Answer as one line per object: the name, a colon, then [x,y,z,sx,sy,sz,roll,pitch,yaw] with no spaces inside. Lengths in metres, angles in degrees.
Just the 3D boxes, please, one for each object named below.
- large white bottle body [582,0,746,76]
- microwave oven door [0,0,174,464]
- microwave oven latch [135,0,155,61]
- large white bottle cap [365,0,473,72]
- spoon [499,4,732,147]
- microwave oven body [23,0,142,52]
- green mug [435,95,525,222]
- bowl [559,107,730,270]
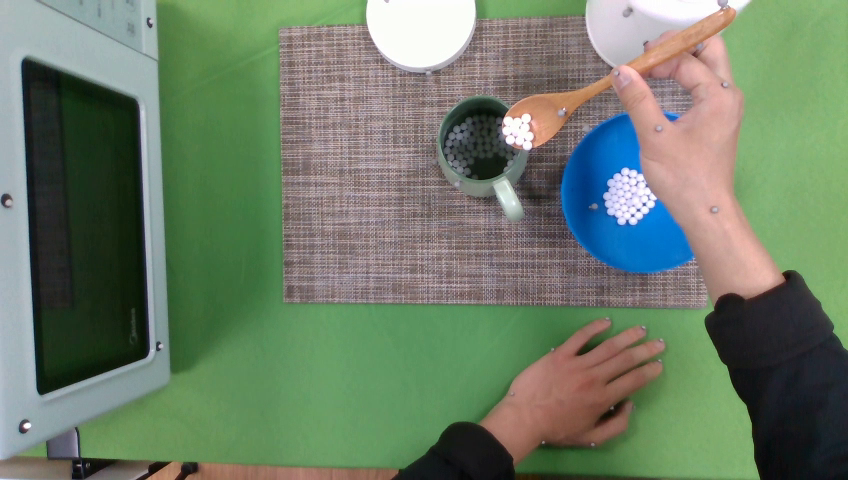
large white bottle body: [0.215,-0.234,0.530,0.130,0.185,0.130,0,88,6]
microwave oven door: [-0.313,-0.013,0.550,0.039,0.244,0.355,-2,91,7]
microwave oven latch: [-0.307,-0.233,0.644,0.030,0.029,0.079,-1,92,6]
large white bottle cap: [-0.005,-0.236,0.636,0.115,0.018,0.114,0,90,6]
spoon: [0.133,-0.118,0.454,0.193,0.021,0.042,-22,102,47]
microwave oven body: [-0.459,-0.050,0.569,0.326,0.260,0.441,-2,92,6]
green mug: [0.062,-0.076,0.591,0.092,0.105,0.125,-27,89,5]
bowl: [0.204,-0.047,0.590,0.151,0.077,0.151,0,91,6]
